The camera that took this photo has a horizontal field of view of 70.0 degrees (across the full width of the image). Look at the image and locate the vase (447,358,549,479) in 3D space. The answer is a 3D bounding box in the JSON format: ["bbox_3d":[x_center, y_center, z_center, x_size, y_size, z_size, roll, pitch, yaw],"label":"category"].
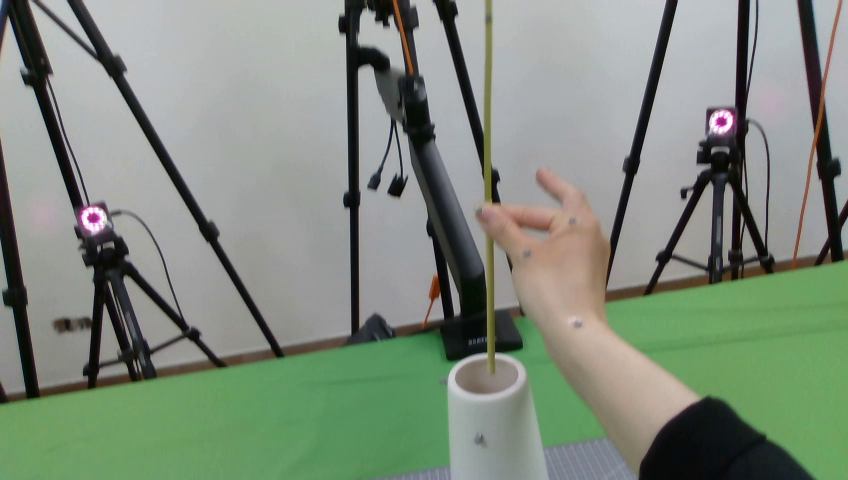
[{"bbox_3d":[0.068,0.210,0.557,0.098,0.201,0.097,-8,20,3],"label":"vase"}]

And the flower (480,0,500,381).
[{"bbox_3d":[0.050,-0.064,0.472,0.038,0.362,0.044,-4,7,-13],"label":"flower"}]
